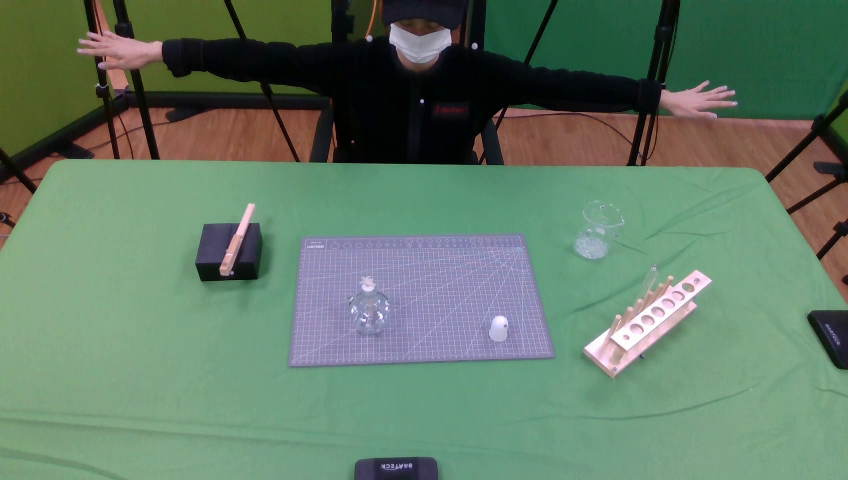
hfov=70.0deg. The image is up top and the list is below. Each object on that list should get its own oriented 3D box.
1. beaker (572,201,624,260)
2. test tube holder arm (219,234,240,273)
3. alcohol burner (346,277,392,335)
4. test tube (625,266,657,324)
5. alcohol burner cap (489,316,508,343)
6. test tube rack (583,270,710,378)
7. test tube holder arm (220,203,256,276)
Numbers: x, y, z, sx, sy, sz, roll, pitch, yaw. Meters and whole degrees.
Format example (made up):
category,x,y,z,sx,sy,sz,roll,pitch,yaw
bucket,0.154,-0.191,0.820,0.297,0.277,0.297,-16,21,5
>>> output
category,x,y,z,sx,sy,sz,roll,pitch,yaw
beaker,0.338,-0.015,1.186,0.084,0.101,0.074,21,49,15
test tube holder arm,-0.344,0.023,1.076,0.015,0.010,0.087,5,45,2
alcohol burner,-0.093,0.106,1.021,0.078,0.120,0.077,1,46,-1
test tube,0.367,0.097,1.027,0.017,0.151,0.017,1,46,-1
alcohol burner cap,0.130,0.151,1.045,0.034,0.048,0.033,2,46,-2
test tube rack,0.389,0.133,1.057,0.242,0.085,0.066,-29,54,-28
test tube holder arm,-0.340,-0.005,1.112,0.015,0.013,0.177,5,46,2
